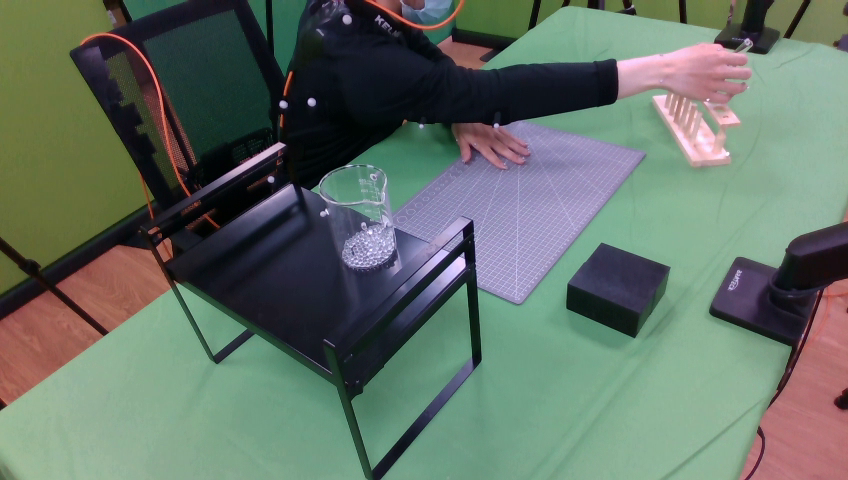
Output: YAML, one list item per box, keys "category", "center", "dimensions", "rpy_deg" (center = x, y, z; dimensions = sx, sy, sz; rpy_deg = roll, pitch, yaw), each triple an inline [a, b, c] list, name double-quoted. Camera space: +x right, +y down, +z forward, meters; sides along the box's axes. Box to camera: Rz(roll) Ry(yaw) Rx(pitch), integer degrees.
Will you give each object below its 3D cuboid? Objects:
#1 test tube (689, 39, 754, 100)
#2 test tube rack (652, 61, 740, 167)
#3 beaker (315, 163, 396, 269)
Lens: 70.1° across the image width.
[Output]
- category: "test tube"
  center: [0.525, -0.300, 1.076]
  dimensions: [0.017, 0.150, 0.017]
  rpy_deg: [8, 61, -15]
- category: "test tube rack"
  center: [0.500, -0.241, 1.130]
  dimensions: [0.067, 0.085, 0.241]
  rpy_deg: [-5, 41, 4]
- category: "beaker"
  center: [-0.069, -0.024, 0.671]
  dimensions: [0.083, 0.101, 0.074]
  rpy_deg: [27, 52, 32]
